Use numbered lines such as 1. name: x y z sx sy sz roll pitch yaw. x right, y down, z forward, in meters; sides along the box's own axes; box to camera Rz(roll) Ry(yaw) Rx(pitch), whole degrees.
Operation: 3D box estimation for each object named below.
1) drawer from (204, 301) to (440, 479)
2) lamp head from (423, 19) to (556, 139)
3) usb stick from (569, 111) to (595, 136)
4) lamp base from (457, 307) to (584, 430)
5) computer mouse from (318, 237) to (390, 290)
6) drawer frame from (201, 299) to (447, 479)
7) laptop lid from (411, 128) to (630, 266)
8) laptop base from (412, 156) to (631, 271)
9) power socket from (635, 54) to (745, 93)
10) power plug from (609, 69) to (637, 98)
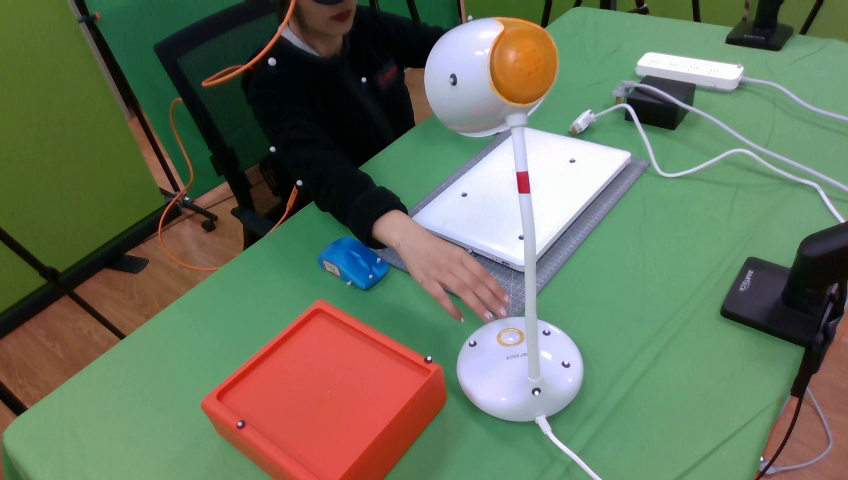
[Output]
1. drawer: -0.119 0.194 0.735 0.210 0.073 0.195 23 49 32
2. lamp head: 0.068 -0.151 0.563 0.113 0.113 0.122 -21 18 -13
3. usb stick: 0.309 -0.227 1.189 0.059 0.021 0.027 -44 13 -19
4. lamp base: 0.115 0.108 0.713 0.161 0.181 0.178 -16 42 -8
5. computer mouse: -0.113 0.033 0.959 0.116 0.041 0.063 28 50 31
6. drawer frame: -0.117 0.193 0.733 0.212 0.083 0.202 23 48 32
7. laptop lid: 0.172 -0.093 1.049 0.239 0.013 0.358 23 49 36
8. laptop base: 0.176 -0.084 1.055 0.233 0.023 0.355 21 48 36
9. power socket: 0.563 -0.358 1.295 0.225 0.033 0.072 21 49 31
10. power plug: 0.407 -0.324 1.232 0.035 0.072 0.052 5 41 -35
